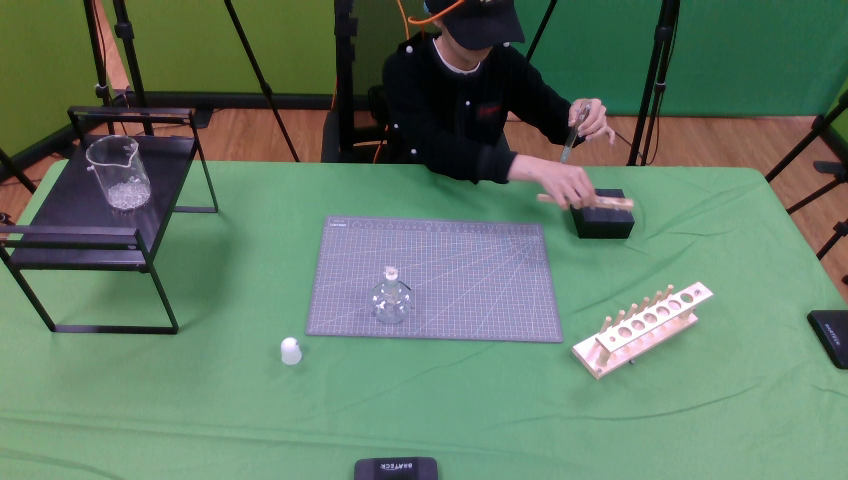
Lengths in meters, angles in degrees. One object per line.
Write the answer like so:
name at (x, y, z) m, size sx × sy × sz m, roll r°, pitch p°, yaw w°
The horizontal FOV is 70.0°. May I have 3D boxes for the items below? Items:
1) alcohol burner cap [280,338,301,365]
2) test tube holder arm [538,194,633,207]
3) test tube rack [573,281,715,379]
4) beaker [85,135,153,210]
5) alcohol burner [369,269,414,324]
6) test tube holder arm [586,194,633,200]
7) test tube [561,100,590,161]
alcohol burner cap at (-0.220, 0.179, 0.993) m, size 0.034 × 0.048 × 0.033 m, roll 2°, pitch 46°, yaw -2°
test tube holder arm at (0.308, -0.077, 1.165) m, size 0.178 × 0.015 × 0.013 m, roll 4°, pitch 45°, yaw 17°
test tube rack at (0.378, 0.140, 1.038) m, size 0.242 × 0.085 × 0.066 m, roll -22°, pitch 51°, yaw -23°
beaker at (-0.475, -0.102, 0.957) m, size 0.083 × 0.101 × 0.074 m, roll 34°, pitch 53°, yaw 26°
alcohol burner at (-0.056, 0.089, 1.037) m, size 0.078 × 0.120 × 0.077 m, roll 1°, pitch 48°, yaw -1°
test tube holder arm at (0.353, -0.078, 1.155) m, size 0.087 × 0.015 × 0.010 m, roll 5°, pitch 45°, yaw 17°
test tube at (0.305, -0.218, 1.225) m, size 0.017 × 0.151 × 0.017 m, roll 5°, pitch 48°, yaw -5°
